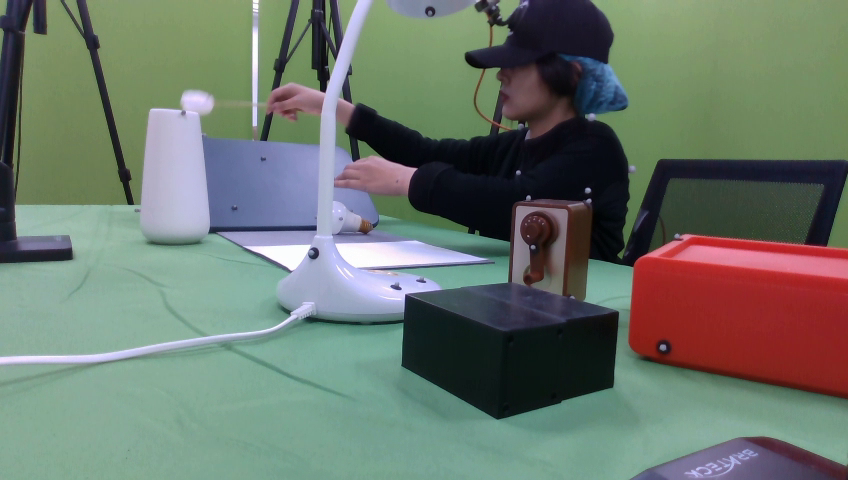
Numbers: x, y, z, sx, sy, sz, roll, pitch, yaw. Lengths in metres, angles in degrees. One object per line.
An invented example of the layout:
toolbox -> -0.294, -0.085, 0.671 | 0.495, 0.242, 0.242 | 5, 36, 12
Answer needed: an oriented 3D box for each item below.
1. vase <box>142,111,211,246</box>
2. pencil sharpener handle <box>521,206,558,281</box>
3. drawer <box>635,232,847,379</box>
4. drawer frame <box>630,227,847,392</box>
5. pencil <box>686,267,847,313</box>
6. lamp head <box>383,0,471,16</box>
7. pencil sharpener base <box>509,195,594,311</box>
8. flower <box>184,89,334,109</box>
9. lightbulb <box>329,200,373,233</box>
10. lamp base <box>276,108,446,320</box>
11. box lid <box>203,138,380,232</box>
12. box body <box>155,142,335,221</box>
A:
vase -> -0.378, -0.093, 0.920 | 0.098, 0.200, 0.098 | 2, 9, 0
pencil sharpener handle -> 0.101, 0.003, 0.555 | 0.036, 0.067, 0.031 | 0, 5, 31
drawer -> 0.292, 0.045, 0.488 | 0.193, 0.073, 0.213 | 7, 10, 30
drawer frame -> 0.292, 0.043, 0.484 | 0.201, 0.082, 0.214 | 7, 9, 29
pencil -> 0.308, 0.045, 0.515 | 0.194, 0.012, 0.012 | 13, 5, -12
lamp head -> -0.001, -0.301, 0.599 | 0.112, 0.112, 0.123 | 4, -30, 14
pencil sharpener base -> 0.126, 0.011, 0.601 | 0.061, 0.107, 0.077 | 7, 9, 30
flower -> -0.353, -0.306, 1.353 | 0.364, 0.044, 0.038 | -8, -30, -43
lightbulb -> -0.143, -0.036, 1.109 | 0.108, 0.059, 0.059 | 15, 0, -28
lamp base -> -0.061, -0.027, 0.556 | 0.160, 0.180, 0.180 | 4, 10, 20
box lid -> -0.286, -0.112, 1.202 | 0.373, 0.015, 0.262 | -2, 46, -30
box body -> -0.411, -0.135, 1.386 | 0.366, 0.160, 0.253 | -2, 9, -29
